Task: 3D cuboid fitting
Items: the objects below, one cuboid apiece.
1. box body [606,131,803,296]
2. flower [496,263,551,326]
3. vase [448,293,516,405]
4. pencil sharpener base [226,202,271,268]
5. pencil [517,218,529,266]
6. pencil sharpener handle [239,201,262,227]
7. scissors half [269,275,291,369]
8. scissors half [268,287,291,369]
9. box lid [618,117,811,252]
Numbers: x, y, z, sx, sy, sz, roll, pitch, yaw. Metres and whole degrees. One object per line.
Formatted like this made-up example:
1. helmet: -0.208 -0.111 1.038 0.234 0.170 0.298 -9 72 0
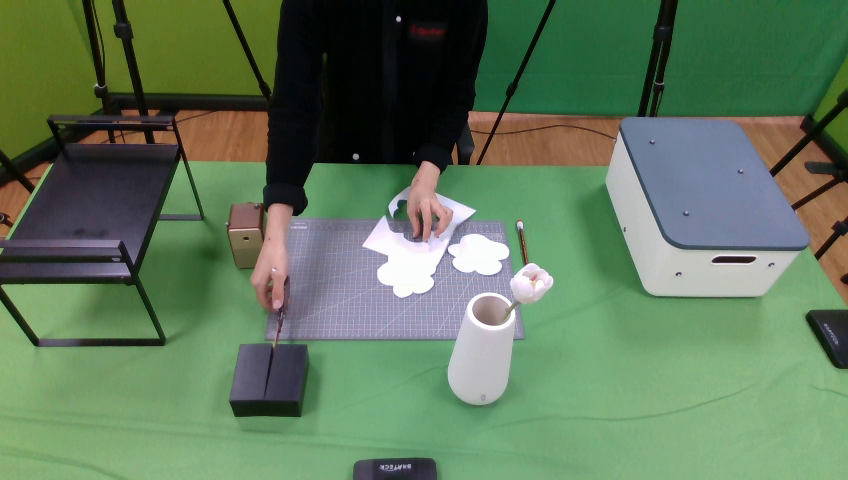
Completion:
1. box body: 0.530 -0.067 1.204 0.254 0.161 0.361 0 46 -4
2. flower: 0.102 0.120 0.853 0.044 0.363 0.038 -2 64 -10
3. vase: 0.091 0.169 0.921 0.098 0.201 0.097 3 47 -3
4. pencil sharpener base: -0.323 -0.010 1.123 0.061 0.107 0.076 -3 46 -7
5. pencil: 0.200 0.028 1.196 0.012 0.012 0.193 1 48 -3
6. pencil sharpener handle: -0.325 -0.055 1.150 0.036 0.068 0.030 -13 46 3
7. scissors half: -0.241 0.131 1.000 0.013 0.040 0.174 2 56 0
8. scissors half: -0.242 0.145 1.014 0.013 0.040 0.174 6 38 -3
9. box lid: 0.534 -0.117 1.149 0.263 0.015 0.369 0 47 -3
